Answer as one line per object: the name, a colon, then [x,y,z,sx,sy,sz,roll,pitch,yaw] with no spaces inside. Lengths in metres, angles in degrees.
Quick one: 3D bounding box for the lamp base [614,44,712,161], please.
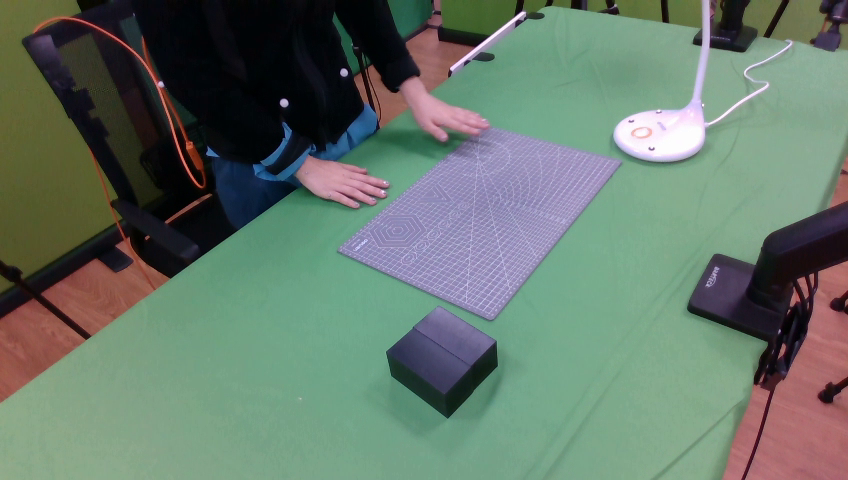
lamp base: [0.441,-0.257,1.081,0.180,0.181,0.159,-15,41,-12]
